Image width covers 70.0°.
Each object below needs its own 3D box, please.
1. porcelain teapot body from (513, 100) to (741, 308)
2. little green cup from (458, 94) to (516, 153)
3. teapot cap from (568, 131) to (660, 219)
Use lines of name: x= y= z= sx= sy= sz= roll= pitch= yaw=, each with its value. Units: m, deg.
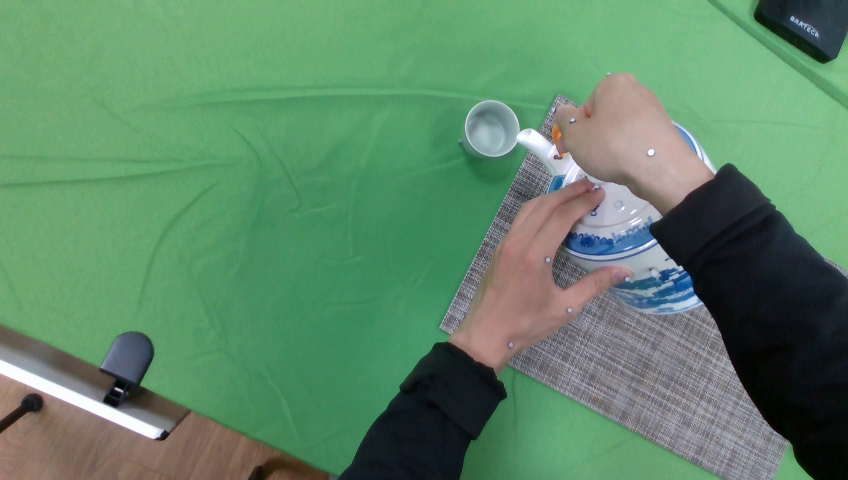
porcelain teapot body: x=0.165 y=-0.050 z=0.563 sx=0.228 sy=0.203 sz=0.145 roll=35 pitch=92 yaw=-40
little green cup: x=0.066 y=-0.124 z=0.663 sx=0.062 sy=0.038 sz=0.061 roll=1 pitch=86 yaw=-11
teapot cap: x=0.157 y=-0.058 z=0.514 sx=0.044 sy=0.084 sz=0.085 roll=35 pitch=80 yaw=-37
